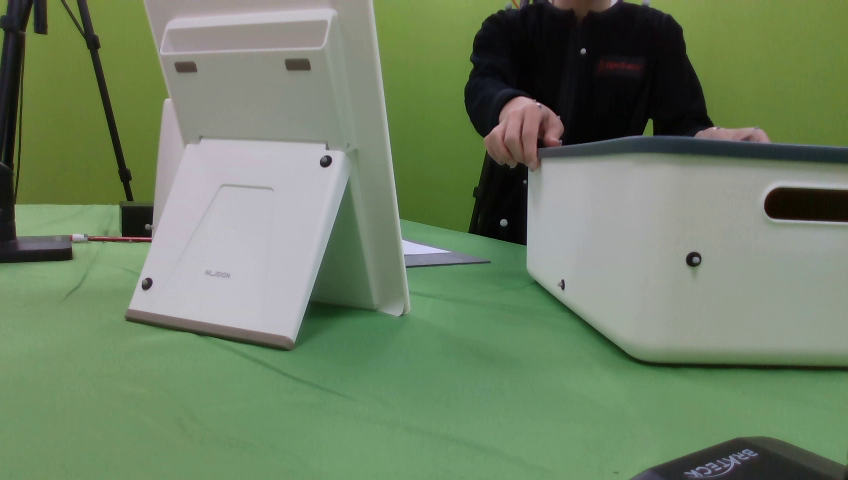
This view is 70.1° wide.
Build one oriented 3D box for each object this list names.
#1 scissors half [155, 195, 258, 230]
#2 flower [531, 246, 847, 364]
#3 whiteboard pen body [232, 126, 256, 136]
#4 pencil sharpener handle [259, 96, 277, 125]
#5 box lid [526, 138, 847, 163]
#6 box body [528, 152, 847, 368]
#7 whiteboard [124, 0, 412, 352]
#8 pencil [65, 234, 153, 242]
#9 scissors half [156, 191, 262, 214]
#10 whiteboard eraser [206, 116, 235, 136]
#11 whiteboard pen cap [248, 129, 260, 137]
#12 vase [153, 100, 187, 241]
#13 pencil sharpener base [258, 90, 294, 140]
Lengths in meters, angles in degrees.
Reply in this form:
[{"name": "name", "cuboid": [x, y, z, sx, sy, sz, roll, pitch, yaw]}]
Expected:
[{"name": "scissors half", "cuboid": [-0.378, -0.051, 1.058, 0.176, 0.040, 0.012, 20, 22, -31]}, {"name": "flower", "cuboid": [0.250, 0.063, 0.602, 0.359, 0.038, 0.044, 20, -13, 49]}, {"name": "whiteboard pen body", "cuboid": [-0.407, -0.247, 1.372, 0.017, 0.017, 0.140, -3, 13, -35]}, {"name": "pencil sharpener handle", "cuboid": [-0.373, -0.304, 1.425, 0.036, 0.067, 0.030, 13, -1, -37]}, {"name": "box lid", "cuboid": [0.261, -0.077, 0.581, 0.264, 0.015, 0.371, 2, 7, -4]}, {"name": "box body", "cuboid": [0.257, -0.005, 0.591, 0.254, 0.160, 0.363, 2, 7, -4]}, {"name": "whiteboard", "cuboid": [-0.151, -0.049, 0.472, 0.216, 0.305, 0.144, 6, 27, 24]}, {"name": "pencil", "cuboid": [-0.429, -0.001, 0.911, 0.195, 0.012, 0.012, 1, 8, -19]}, {"name": "scissors half", "cuboid": [-0.371, -0.068, 1.051, 0.176, 0.040, 0.013, 2, 25, -24]}, {"name": "whiteboard eraser", "cuboid": [-0.449, -0.251, 1.335, 0.056, 0.042, 0.112, 1, 7, -22]}, {"name": "whiteboard pen cap", "cuboid": [-0.373, -0.235, 1.326, 0.018, 0.018, 0.033, -3, 12, -35]}, {"name": "vase", "cuboid": [-0.278, -0.066, 0.736, 0.098, 0.200, 0.098, 2, 9, 0]}, {"name": "pencil sharpener base", "cuboid": [-0.341, -0.285, 1.388, 0.062, 0.107, 0.076, -3, 9, -36]}]
